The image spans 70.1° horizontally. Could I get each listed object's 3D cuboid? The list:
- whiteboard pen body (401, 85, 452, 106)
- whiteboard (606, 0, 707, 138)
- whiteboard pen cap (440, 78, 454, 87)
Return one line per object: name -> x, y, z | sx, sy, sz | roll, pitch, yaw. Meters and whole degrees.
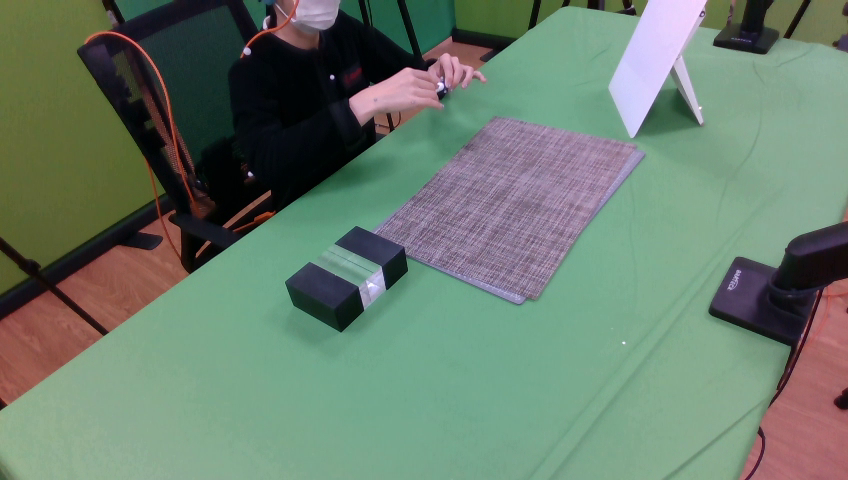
whiteboard pen body -> 0.008, -0.274, 1.132 | 0.017, 0.017, 0.141 | 26, 39, 33
whiteboard -> 0.496, -0.359, 1.147 | 0.144, 0.305, 0.216 | 11, 40, -7
whiteboard pen cap -> 0.043, -0.303, 1.171 | 0.018, 0.018, 0.033 | 21, 35, 29
